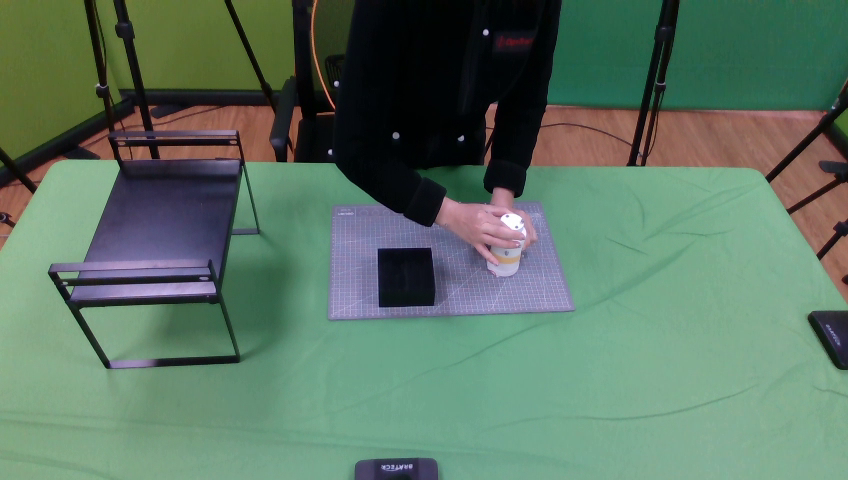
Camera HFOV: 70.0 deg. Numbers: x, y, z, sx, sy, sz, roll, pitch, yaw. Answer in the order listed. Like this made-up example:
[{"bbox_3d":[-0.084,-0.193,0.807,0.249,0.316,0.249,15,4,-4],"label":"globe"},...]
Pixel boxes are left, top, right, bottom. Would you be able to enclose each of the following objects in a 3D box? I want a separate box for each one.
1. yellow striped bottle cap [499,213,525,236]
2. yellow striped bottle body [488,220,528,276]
[{"bbox_3d":[0.158,-0.029,1.090,0.044,0.019,0.044,4,46,-4],"label":"yellow striped bottle cap"},{"bbox_3d":[0.157,0.006,1.128,0.063,0.121,0.062,2,48,-1],"label":"yellow striped bottle body"}]
